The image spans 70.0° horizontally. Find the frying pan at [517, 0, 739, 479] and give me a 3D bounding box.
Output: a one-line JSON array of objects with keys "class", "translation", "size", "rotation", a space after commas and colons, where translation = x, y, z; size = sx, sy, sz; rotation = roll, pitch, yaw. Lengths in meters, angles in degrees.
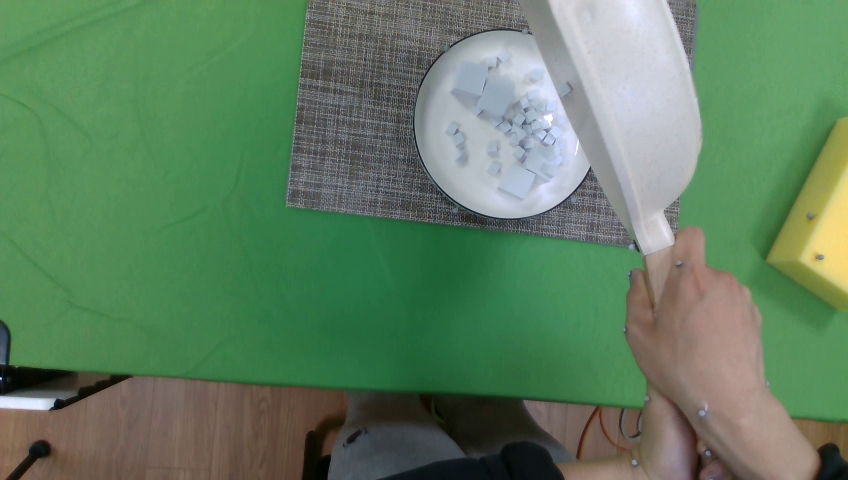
[{"class": "frying pan", "translation": [0.154, -0.053, 0.462], "size": [0.102, 0.308, 0.486], "rotation": [-16, 84, 17]}]

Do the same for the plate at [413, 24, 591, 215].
[{"class": "plate", "translation": [0.090, -0.129, 0.666], "size": [0.208, 0.039, 0.207], "rotation": [0, 89, -8]}]

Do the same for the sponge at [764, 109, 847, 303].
[{"class": "sponge", "translation": [0.514, -0.042, 0.720], "size": [0.118, 0.061, 0.206], "rotation": [30, 85, -6]}]
